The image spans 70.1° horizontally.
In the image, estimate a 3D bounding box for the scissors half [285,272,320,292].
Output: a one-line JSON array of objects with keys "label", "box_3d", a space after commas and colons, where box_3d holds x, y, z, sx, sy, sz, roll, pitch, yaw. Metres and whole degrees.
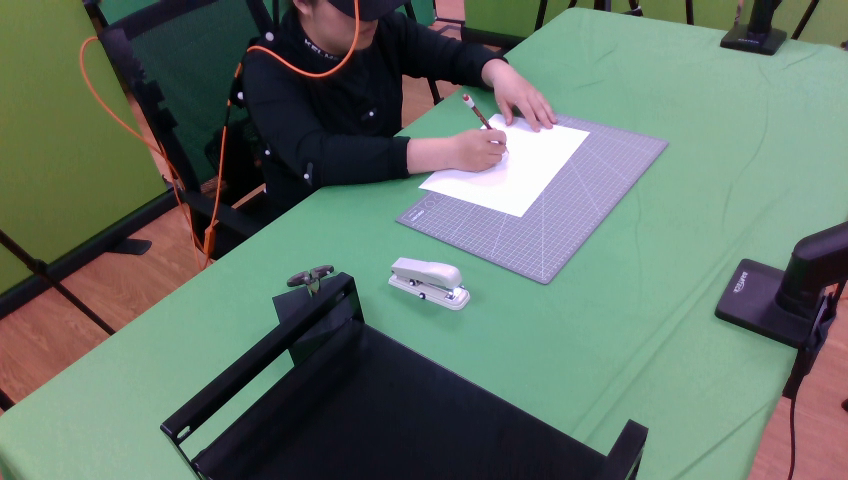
[{"label": "scissors half", "box_3d": [-0.171, 0.063, 0.868, 0.040, 0.013, 0.174, -9, 6, -21]}]

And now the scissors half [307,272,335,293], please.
[{"label": "scissors half", "box_3d": [-0.151, 0.062, 0.872, 0.040, 0.013, 0.175, -2, 5, -4]}]

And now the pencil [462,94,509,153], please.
[{"label": "pencil", "box_3d": [0.115, -0.203, 1.080, 0.012, 0.196, 0.012, -14, 61, 27]}]

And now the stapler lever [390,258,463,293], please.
[{"label": "stapler lever", "box_3d": [0.003, 0.046, 0.881, 0.117, 0.040, 0.027, 17, 43, 29]}]

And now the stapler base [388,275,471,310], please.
[{"label": "stapler base", "box_3d": [0.007, 0.066, 0.897, 0.129, 0.024, 0.041, 17, 43, 29]}]
